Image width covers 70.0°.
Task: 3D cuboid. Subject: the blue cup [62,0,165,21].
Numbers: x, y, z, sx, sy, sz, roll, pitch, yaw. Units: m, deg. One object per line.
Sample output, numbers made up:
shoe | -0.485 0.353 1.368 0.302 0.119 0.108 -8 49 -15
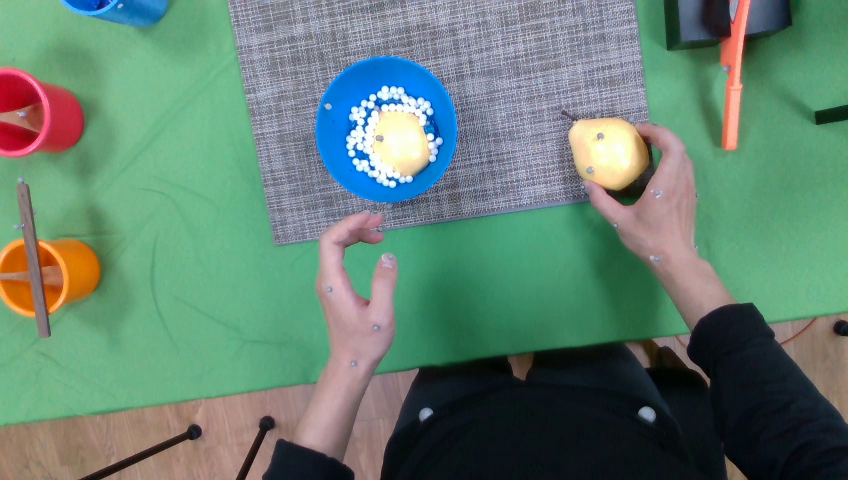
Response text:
blue cup | -0.336 -0.282 0.661 0.092 0.100 0.093 1 97 7

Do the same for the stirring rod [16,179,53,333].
stirring rod | -0.439 0.019 0.683 0.014 0.006 0.176 -4 98 2

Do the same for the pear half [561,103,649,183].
pear half | 0.191 -0.113 0.660 0.109 0.056 0.076 40 93 3

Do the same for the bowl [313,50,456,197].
bowl | -0.037 -0.124 0.663 0.151 0.077 0.151 1 97 5

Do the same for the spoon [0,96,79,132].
spoon | -0.495 -0.141 0.672 0.195 0.021 0.042 -8 100 -37

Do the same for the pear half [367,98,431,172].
pear half | -0.032 -0.118 0.657 0.070 0.031 0.088 -35 89 7

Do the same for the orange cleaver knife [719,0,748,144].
orange cleaver knife | 0.316 -0.204 0.623 0.012 0.076 0.213 -6 125 11

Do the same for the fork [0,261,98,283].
fork | -0.489 0.035 0.691 0.209 0.018 0.028 4 109 -39
